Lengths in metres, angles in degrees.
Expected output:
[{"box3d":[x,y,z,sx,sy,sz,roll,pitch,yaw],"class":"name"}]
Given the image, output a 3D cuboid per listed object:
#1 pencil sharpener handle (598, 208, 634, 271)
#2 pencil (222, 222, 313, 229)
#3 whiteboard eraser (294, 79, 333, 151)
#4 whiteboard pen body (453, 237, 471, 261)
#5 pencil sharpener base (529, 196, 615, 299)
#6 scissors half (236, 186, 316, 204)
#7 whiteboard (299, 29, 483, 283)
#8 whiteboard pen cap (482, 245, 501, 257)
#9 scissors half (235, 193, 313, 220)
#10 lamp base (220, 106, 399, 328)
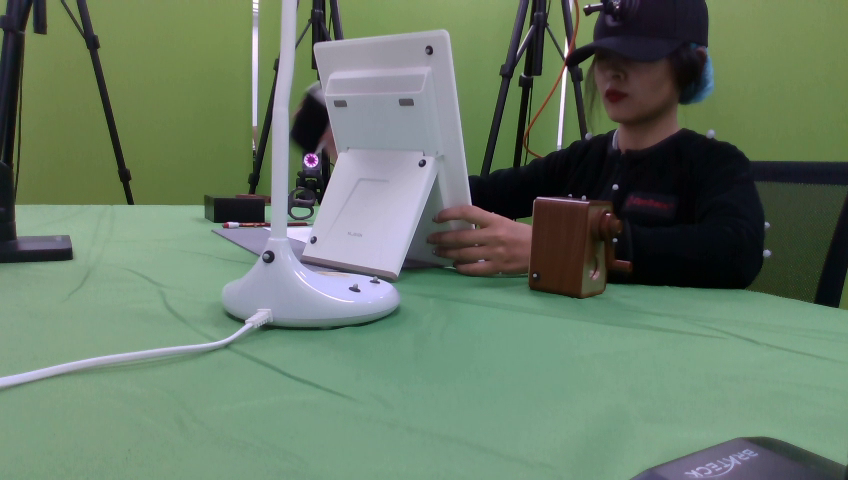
[{"box3d":[0.208,0.000,0.644,0.030,0.068,0.036,10,23,42],"class":"pencil sharpener handle"},{"box3d":[-0.302,-0.030,1.189,0.195,0.012,0.012,-2,9,-42],"class":"pencil"},{"box3d":[-0.155,-0.187,0.907,0.042,0.055,0.112,-38,-5,-47],"class":"whiteboard eraser"},{"box3d":[0.058,0.015,0.912,0.017,0.017,0.140,2,10,-3],"class":"whiteboard pen body"},{"box3d":[0.168,0.007,0.678,0.076,0.107,0.062,10,10,42],"class":"pencil sharpener base"},{"box3d":[-0.320,-0.097,1.316,0.176,0.040,0.013,-4,12,-29],"class":"scissors half"},{"box3d":[-0.074,-0.082,0.742,0.216,0.305,0.144,9,29,37],"class":"whiteboard"},{"box3d":[0.104,0.017,0.936,0.018,0.018,0.033,-1,3,-22],"class":"whiteboard pen cap"},{"box3d":[-0.325,-0.077,1.319,0.176,0.040,0.012,17,7,-32],"class":"scissors half"},{"box3d":[-0.101,-0.023,0.531,0.160,0.180,0.179,4,10,10],"class":"lamp base"}]
